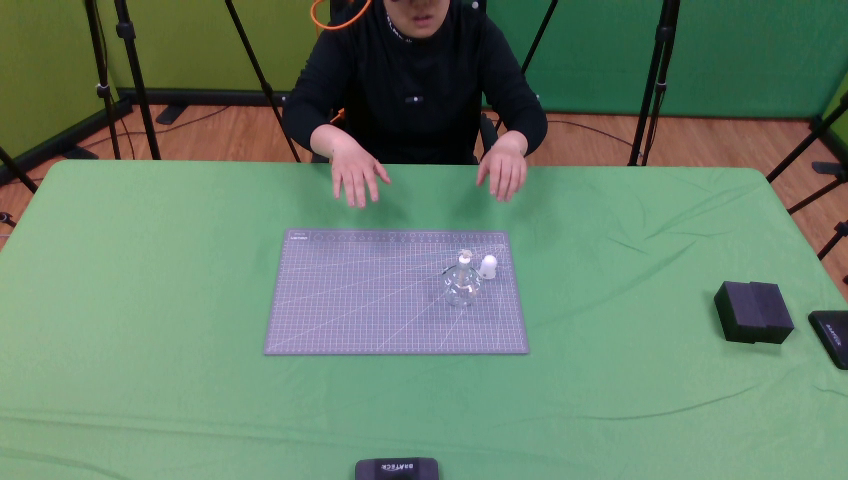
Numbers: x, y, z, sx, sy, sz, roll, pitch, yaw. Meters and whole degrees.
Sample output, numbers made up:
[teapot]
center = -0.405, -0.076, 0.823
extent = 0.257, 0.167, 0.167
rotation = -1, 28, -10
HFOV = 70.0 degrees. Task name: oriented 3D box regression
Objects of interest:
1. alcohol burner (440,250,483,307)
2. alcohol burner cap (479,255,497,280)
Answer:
[alcohol burner]
center = 0.068, 0.063, 1.076
extent = 0.078, 0.120, 0.077
rotation = 1, 45, -1
[alcohol burner cap]
center = 0.122, 0.050, 1.143
extent = 0.034, 0.048, 0.033
rotation = 2, 45, -2
